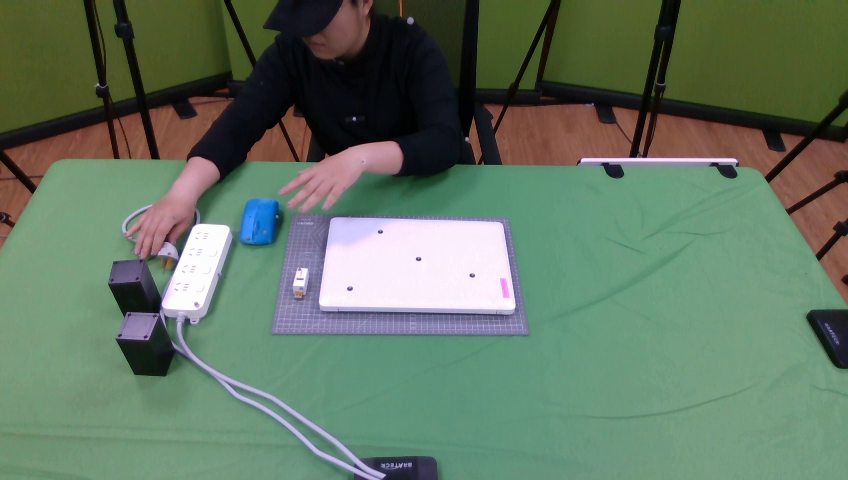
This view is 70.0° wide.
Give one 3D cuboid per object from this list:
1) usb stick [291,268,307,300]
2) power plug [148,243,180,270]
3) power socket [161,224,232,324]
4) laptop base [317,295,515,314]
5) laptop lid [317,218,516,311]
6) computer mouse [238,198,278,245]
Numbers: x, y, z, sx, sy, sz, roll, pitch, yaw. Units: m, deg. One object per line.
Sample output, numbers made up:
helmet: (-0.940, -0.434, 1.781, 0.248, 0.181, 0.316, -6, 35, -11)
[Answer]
usb stick: (-0.227, 0.081, 1.094, 0.021, 0.027, 0.059, 4, 48, -2)
power plug: (-0.486, 0.033, 1.133, 0.072, 0.035, 0.052, -9, 64, 35)
power socket: (-0.412, 0.053, 1.106, 0.072, 0.033, 0.225, 4, 46, -1)
laptop base: (-0.014, 0.050, 1.150, 0.354, 0.023, 0.234, 1, 42, -3)
laptop lid: (-0.013, 0.040, 1.143, 0.357, 0.013, 0.240, 3, 43, -2)
computer mouse: (-0.328, -0.039, 1.200, 0.063, 0.041, 0.116, 3, 50, -5)
